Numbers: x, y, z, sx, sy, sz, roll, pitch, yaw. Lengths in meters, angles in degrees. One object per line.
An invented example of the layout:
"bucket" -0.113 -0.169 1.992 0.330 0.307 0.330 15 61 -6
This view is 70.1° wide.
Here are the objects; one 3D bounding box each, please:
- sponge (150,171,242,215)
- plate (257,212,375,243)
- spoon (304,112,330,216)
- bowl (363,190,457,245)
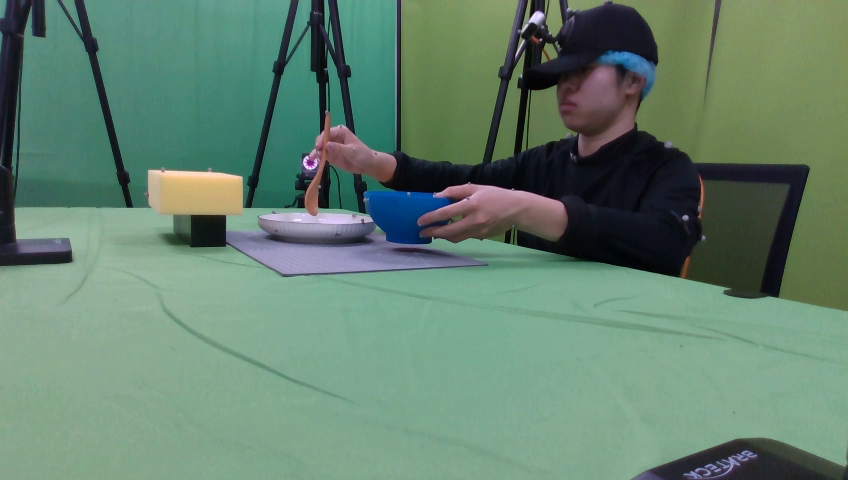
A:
"sponge" -0.379 -0.079 0.994 0.119 0.061 0.206 -1 8 -29
"plate" -0.189 -0.023 1.072 0.209 0.038 0.209 3 7 0
"spoon" -0.190 -0.139 1.105 0.021 0.193 0.042 12 -2 21
"bowl" -0.025 -0.036 0.962 0.151 0.077 0.151 4 8 0
